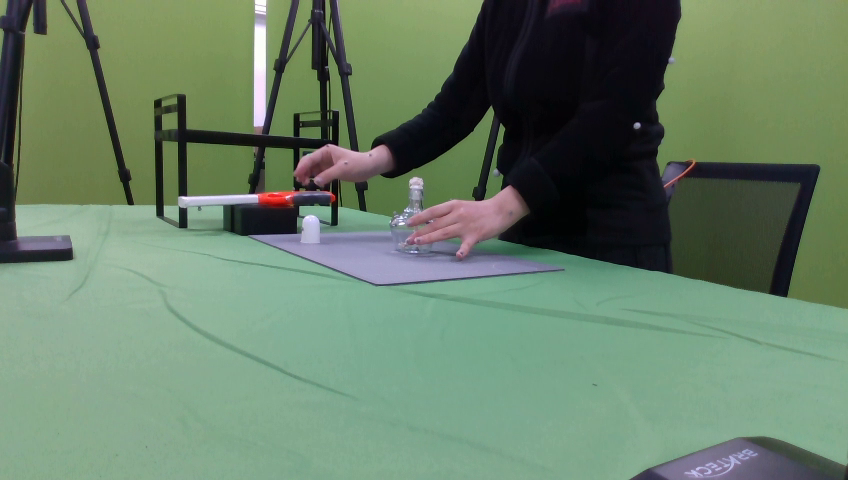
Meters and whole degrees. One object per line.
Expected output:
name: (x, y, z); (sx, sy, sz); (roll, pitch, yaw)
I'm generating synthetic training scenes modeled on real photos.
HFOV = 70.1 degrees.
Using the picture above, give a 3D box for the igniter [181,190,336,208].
igniter: (-0.294, -0.076, 1.103); (0.278, 0.025, 0.057); (-5, 12, -33)

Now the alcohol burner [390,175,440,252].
alcohol burner: (-0.013, -0.041, 0.930); (0.078, 0.119, 0.078); (5, 8, 0)

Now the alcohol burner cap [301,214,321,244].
alcohol burner cap: (-0.184, -0.019, 0.978); (0.034, 0.048, 0.034); (0, 7, 0)
